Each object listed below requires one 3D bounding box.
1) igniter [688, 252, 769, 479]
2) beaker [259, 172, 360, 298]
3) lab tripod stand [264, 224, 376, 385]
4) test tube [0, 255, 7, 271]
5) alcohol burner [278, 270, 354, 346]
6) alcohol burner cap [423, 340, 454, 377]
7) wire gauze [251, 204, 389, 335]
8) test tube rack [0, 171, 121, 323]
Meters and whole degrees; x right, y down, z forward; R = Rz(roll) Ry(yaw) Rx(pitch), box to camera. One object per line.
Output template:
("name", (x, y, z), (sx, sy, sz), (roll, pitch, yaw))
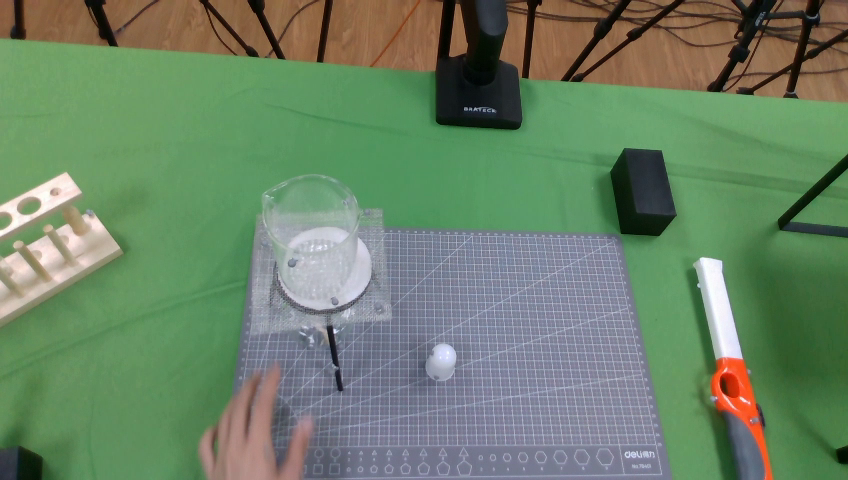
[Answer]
("igniter", (0.338, 0.138, 0.680), (0.057, 0.025, 0.274), (10, 59, -13))
("beaker", (-0.097, -0.001, 0.513), (0.084, 0.101, 0.073), (24, 61, 7))
("lab tripod stand", (-0.100, 0.058, 0.611), (0.148, 0.132, 0.147), (4, 61, -6))
("test tube", (-0.444, -0.012, 0.587), (0.017, 0.151, 0.017), (3, 55, -5))
("alcohol burner", (-0.111, 0.063, 0.619), (0.078, 0.120, 0.077), (4, 59, -6))
("alcohol burner cap", (0.017, 0.123, 0.641), (0.034, 0.048, 0.033), (2, 63, -3))
("wire gauze", (-0.097, 0.022, 0.557), (0.122, 0.011, 0.124), (-4, 65, -7))
("test tube rack", (-0.451, 0.035, 0.616), (0.242, 0.086, 0.066), (-37, 70, -23))
